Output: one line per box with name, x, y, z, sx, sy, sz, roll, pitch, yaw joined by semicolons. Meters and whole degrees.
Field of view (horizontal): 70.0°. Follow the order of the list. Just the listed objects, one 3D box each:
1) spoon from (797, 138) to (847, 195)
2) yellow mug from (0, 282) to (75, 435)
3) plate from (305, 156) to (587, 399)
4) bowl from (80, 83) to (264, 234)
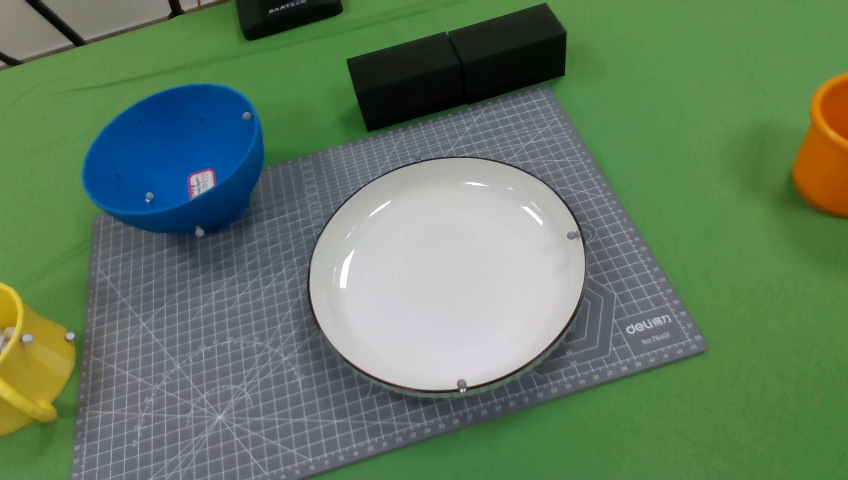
spoon;0.356;-0.092;0.416;0.022;0.194;0.041;16;49;-34
yellow mug;-0.319;0.095;0.450;0.130;0.064;0.099;27;63;25
plate;0.016;0.024;0.457;0.209;0.038;0.207;-4;54;6
bowl;-0.203;-0.057;0.529;0.151;0.077;0.150;-5;54;7
